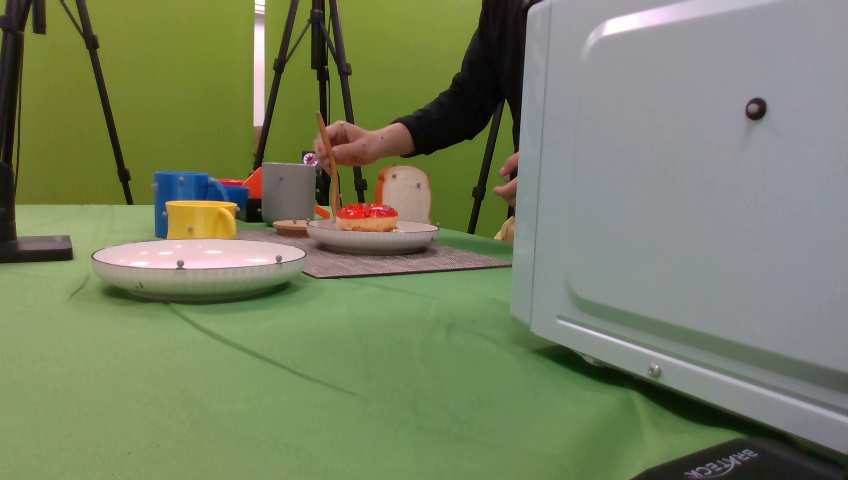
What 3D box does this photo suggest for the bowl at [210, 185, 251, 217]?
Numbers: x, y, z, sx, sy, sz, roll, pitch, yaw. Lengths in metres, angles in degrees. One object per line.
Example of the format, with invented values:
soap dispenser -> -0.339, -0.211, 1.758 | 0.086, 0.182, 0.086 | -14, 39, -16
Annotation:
bowl -> -0.408, -0.064, 1.154 | 0.151, 0.077, 0.151 | 2, 8, 0

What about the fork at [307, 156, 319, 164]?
fork -> -0.331, -0.144, 1.506 | 0.207, 0.018, 0.028 | -42, -21, 22

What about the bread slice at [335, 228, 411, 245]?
bread slice -> -0.074, -0.007, 0.938 | 0.105, 0.019, 0.131 | -1, 6, -19

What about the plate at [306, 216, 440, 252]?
plate -> -0.079, -0.011, 0.950 | 0.209, 0.038, 0.209 | 2, 8, 0

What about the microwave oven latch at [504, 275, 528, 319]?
microwave oven latch -> 0.100, 0.041, 0.471 | 0.079, 0.029, 0.030 | -1, 7, -29

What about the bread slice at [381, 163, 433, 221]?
bread slice -> -0.035, -0.076, 1.125 | 0.107, 0.134, 0.018 | -4, 1, -26

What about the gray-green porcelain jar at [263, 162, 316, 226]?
gray-green porcelain jar -> -0.271, -0.092, 1.217 | 0.106, 0.126, 0.106 | 2, 7, 0

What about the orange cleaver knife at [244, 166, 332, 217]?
orange cleaver knife -> -0.301, -0.089, 1.351 | 0.212, 0.077, 0.012 | 32, -11, -34

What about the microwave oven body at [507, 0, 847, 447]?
microwave oven body -> 0.331, -0.042, 0.425 | 0.444, 0.260, 0.324 | -2, 8, -31

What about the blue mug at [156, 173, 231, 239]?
blue mug -> -0.381, -0.057, 1.004 | 0.117, 0.106, 0.082 | 0, 8, -12

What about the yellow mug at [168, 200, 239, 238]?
yellow mug -> -0.319, -0.023, 0.904 | 0.130, 0.064, 0.100 | 9, 11, 36

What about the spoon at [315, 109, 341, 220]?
spoon -> -0.147, -0.113, 0.970 | 0.021, 0.193, 0.041 | -7, 11, 8

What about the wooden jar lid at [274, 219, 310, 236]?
wooden jar lid -> -0.213, -0.023, 1.080 | 0.108, 0.020, 0.108 | 3, 7, 0

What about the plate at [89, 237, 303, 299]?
plate -> -0.233, 0.029, 0.637 | 0.208, 0.039, 0.207 | 2, 7, 0

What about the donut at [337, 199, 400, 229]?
donut -> -0.086, -0.038, 0.940 | 0.099, 0.048, 0.099 | 0, 11, 0

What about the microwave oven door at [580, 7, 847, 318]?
microwave oven door -> 0.295, -0.067, 0.570 | 0.358, 0.243, 0.039 | -3, 8, -31
